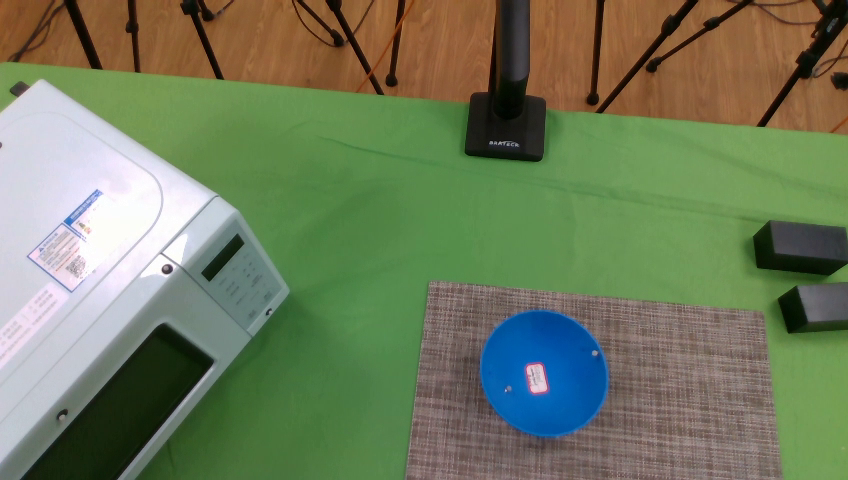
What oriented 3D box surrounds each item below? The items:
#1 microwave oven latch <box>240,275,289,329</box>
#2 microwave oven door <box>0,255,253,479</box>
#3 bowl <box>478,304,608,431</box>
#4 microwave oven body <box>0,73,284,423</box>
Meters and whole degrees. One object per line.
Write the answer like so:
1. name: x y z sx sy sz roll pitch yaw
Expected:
1. microwave oven latch: -0.211 0.076 0.795 0.030 0.030 0.079 34 71 15
2. microwave oven door: -0.341 0.197 0.631 0.039 0.245 0.355 31 70 15
3. bowl: 0.139 0.162 0.743 0.151 0.077 0.150 0 65 1
4. microwave oven body: -0.437 0.094 0.686 0.324 0.262 0.440 32 71 14
